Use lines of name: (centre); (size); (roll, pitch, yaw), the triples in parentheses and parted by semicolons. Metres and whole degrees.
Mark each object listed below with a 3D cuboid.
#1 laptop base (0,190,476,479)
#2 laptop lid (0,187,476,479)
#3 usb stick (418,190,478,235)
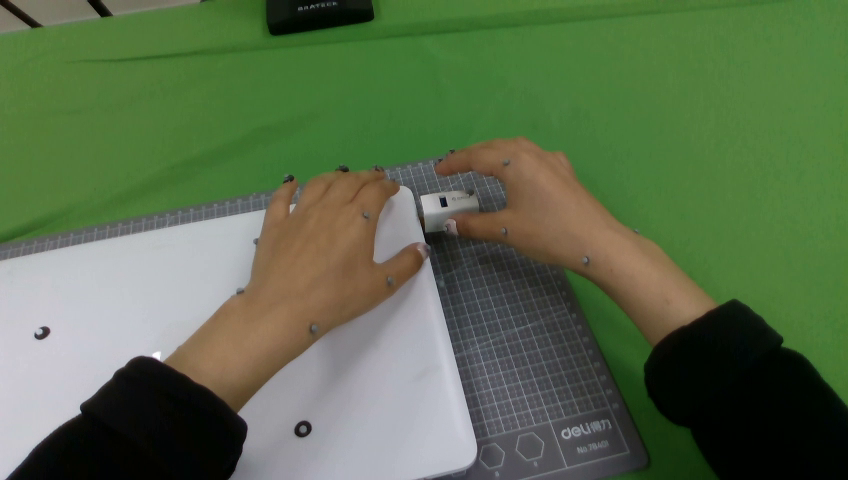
laptop base: (-0.161, 0.084, 0.423); (0.355, 0.023, 0.233); (-11, 55, -5)
laptop lid: (-0.161, 0.079, 0.412); (0.357, 0.013, 0.239); (-10, 54, -4)
usb stick: (0.012, -0.021, 0.478); (0.059, 0.027, 0.021); (-11, 53, -2)
